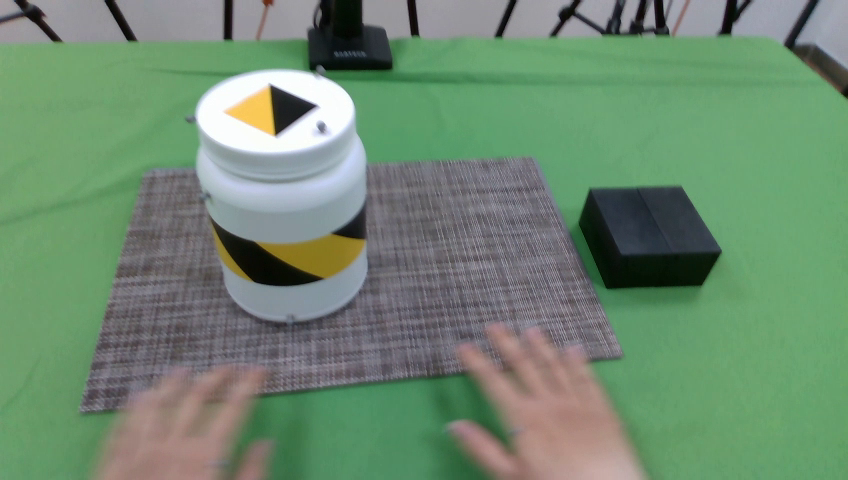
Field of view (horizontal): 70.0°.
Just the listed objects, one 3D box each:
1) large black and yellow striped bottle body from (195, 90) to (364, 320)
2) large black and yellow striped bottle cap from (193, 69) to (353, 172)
[{"bbox_3d":[-0.117,-0.034,0.515,0.131,0.185,0.129,3,45,-2],"label":"large black and yellow striped bottle body"},{"bbox_3d":[-0.111,-0.093,0.454,0.115,0.019,0.114,2,45,-2],"label":"large black and yellow striped bottle cap"}]
